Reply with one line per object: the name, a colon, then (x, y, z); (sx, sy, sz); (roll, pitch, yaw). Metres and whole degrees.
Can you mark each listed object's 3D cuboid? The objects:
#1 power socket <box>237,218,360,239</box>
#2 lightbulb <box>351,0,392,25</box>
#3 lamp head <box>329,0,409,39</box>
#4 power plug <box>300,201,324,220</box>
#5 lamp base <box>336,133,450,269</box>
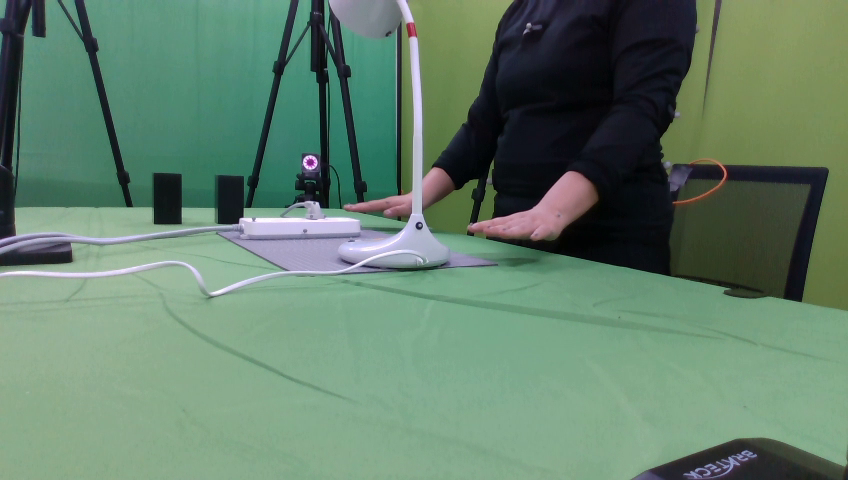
power socket: (-0.220, -0.023, 1.080); (0.228, 0.032, 0.072); (-2, 7, -33)
lightbulb: (-0.070, -0.355, 0.866); (0.060, 0.059, 0.107); (0, -21, -20)
lamp head: (-0.062, -0.357, 0.842); (0.113, 0.112, 0.122); (-1, -14, -29)
power plug: (-0.207, -0.046, 1.120); (0.035, 0.052, 0.072); (2, 4, -22)
lamp base: (-0.032, -0.057, 0.830); (0.161, 0.180, 0.178); (-2, 11, -34)
